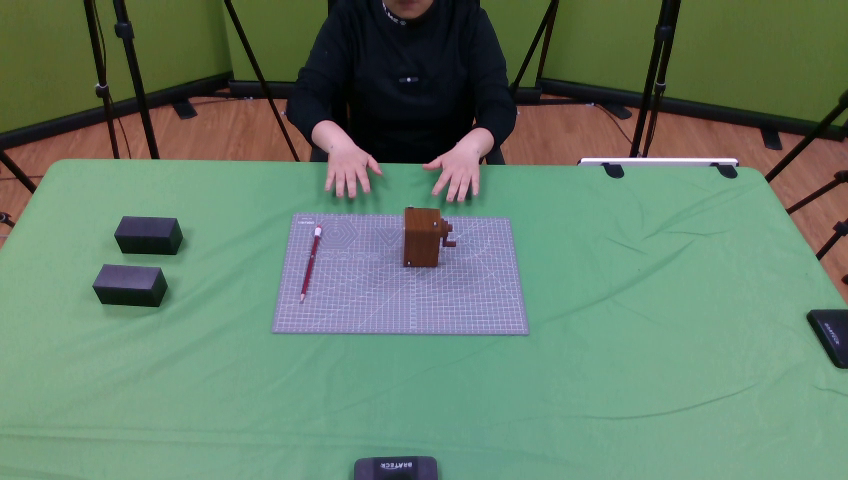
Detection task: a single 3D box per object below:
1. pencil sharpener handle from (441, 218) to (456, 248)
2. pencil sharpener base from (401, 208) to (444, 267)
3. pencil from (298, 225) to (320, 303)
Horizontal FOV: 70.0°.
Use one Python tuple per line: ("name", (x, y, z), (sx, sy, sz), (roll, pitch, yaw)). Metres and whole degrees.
("pencil sharpener handle", (0.047, -0.011, 1.131), (0.031, 0.068, 0.036), (1, 45, -3))
("pencil sharpener base", (-0.005, -0.003, 1.137), (0.077, 0.107, 0.061), (1, 45, -4))
("pencil", (-0.217, 0.043, 1.144), (0.012, 0.012, 0.193), (5, 47, 0))
